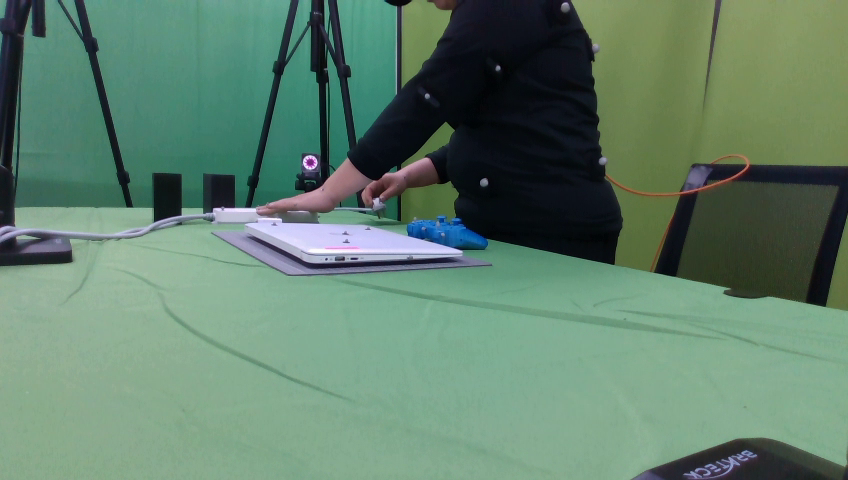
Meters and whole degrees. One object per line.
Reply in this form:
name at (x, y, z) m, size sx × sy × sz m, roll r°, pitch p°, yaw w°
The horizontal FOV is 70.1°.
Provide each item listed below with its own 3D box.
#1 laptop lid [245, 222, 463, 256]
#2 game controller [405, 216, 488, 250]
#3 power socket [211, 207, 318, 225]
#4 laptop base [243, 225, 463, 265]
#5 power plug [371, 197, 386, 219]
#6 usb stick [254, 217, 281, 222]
laptop lid at (-0.126, -0.005, 0.951) m, size 0.243 × 0.013 × 0.355 m, roll 1°, pitch 7°, yaw -28°
game controller at (0.034, -0.013, 1.067) m, size 0.097 × 0.051 × 0.154 m, roll -6°, pitch 10°, yaw -29°
power socket at (-0.335, -0.051, 1.282) m, size 0.228 × 0.032 × 0.072 m, roll -1°, pitch 10°, yaw -29°
laptop base at (-0.129, 0.007, 0.951) m, size 0.237 × 0.023 × 0.352 m, roll 2°, pitch 6°, yaw -30°
power plug at (-0.099, -0.072, 1.392) m, size 0.035 × 0.052 × 0.073 m, roll -20°, pitch -6°, yaw 15°
usb stick at (-0.296, -0.028, 1.114) m, size 0.059 × 0.027 × 0.021 m, roll -4°, pitch 12°, yaw -30°
